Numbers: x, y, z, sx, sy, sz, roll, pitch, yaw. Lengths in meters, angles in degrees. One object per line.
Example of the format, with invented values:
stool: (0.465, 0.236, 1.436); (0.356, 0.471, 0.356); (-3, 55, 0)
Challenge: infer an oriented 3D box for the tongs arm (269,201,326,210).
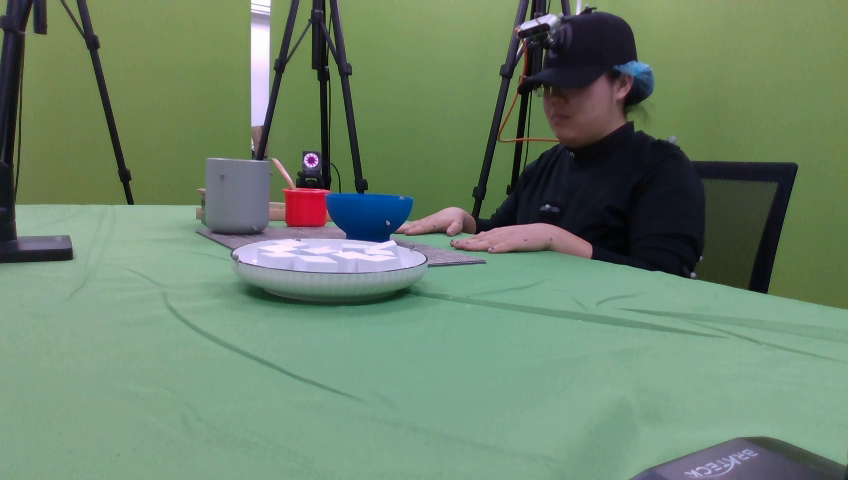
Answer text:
tongs arm: (-0.308, -0.072, 1.410); (0.386, 0.026, 0.050); (3, 8, -6)

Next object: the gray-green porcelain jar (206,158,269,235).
gray-green porcelain jar: (-0.322, -0.076, 1.048); (0.106, 0.126, 0.106); (3, 7, 0)

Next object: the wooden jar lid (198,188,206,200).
wooden jar lid: (-0.382, -0.088, 1.175); (0.108, 0.020, 0.108); (3, 8, 0)

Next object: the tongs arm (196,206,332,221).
tongs arm: (-0.294, -0.057, 1.330); (0.389, 0.028, 0.028); (0, 5, -20)

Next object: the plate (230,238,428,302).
plate: (-0.099, 0.032, 0.651); (0.209, 0.038, 0.209); (3, 8, 0)

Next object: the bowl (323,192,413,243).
bowl: (-0.094, -0.037, 1.015); (0.151, 0.077, 0.151); (3, 7, 0)

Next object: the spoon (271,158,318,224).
spoon: (-0.268, -0.103, 1.236); (0.042, 0.021, 0.193); (-9, 58, -40)
